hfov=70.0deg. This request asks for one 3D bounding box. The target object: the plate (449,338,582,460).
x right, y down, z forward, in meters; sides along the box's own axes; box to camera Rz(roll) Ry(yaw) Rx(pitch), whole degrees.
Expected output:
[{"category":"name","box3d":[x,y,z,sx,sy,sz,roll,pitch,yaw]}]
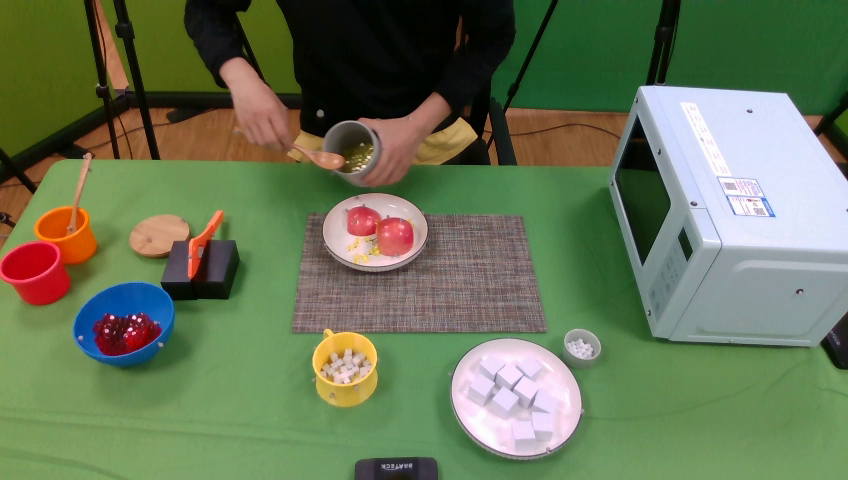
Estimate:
[{"category":"plate","box3d":[0.141,0.251,0.956,0.208,0.039,0.206,2,46,-2]}]

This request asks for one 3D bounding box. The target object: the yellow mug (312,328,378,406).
[{"category":"yellow mug","box3d":[-0.132,0.193,0.971,0.100,0.064,0.130,-22,51,-22]}]

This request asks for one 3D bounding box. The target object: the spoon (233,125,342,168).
[{"category":"spoon","box3d":[-0.240,-0.169,1.069,0.194,0.022,0.041,20,51,-14]}]

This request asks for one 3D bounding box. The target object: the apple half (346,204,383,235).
[{"category":"apple half","box3d":[-0.119,-0.049,1.207,0.081,0.033,0.081,2,50,-2]}]

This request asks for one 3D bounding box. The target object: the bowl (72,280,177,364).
[{"category":"bowl","box3d":[-0.473,0.147,0.982,0.151,0.077,0.150,2,46,-2]}]

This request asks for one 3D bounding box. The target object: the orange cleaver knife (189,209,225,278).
[{"category":"orange cleaver knife","box3d":[-0.401,0.002,1.122,0.012,0.077,0.210,3,22,-4]}]

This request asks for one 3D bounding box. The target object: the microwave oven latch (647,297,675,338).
[{"category":"microwave oven latch","box3d":[0.413,0.133,1.060,0.030,0.029,0.078,5,46,2]}]

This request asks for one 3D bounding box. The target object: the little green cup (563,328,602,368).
[{"category":"little green cup","box3d":[0.266,0.185,1.025,0.061,0.039,0.061,2,45,-2]}]

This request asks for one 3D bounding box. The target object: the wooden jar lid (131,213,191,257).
[{"category":"wooden jar lid","box3d":[-0.504,-0.008,1.167,0.108,0.021,0.107,3,46,-3]}]

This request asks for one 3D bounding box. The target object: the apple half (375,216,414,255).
[{"category":"apple half","box3d":[-0.056,-0.017,1.169,0.075,0.053,0.080,0,45,-7]}]

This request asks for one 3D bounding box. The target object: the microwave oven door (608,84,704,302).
[{"category":"microwave oven door","box3d":[0.424,-0.096,1.138,0.039,0.245,0.353,2,47,-1]}]

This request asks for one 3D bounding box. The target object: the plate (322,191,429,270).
[{"category":"plate","box3d":[-0.093,-0.015,1.185,0.209,0.038,0.208,2,46,-2]}]

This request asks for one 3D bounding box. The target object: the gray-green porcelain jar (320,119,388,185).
[{"category":"gray-green porcelain jar","box3d":[-0.131,-0.166,1.179,0.106,0.127,0.105,-1,83,11]}]

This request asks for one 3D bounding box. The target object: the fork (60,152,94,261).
[{"category":"fork","box3d":[-0.638,-0.063,1.119,0.028,0.018,0.207,12,90,8]}]

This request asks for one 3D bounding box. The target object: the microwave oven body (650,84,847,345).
[{"category":"microwave oven body","box3d":[0.569,-0.054,1.116,0.326,0.261,0.439,2,46,-1]}]
